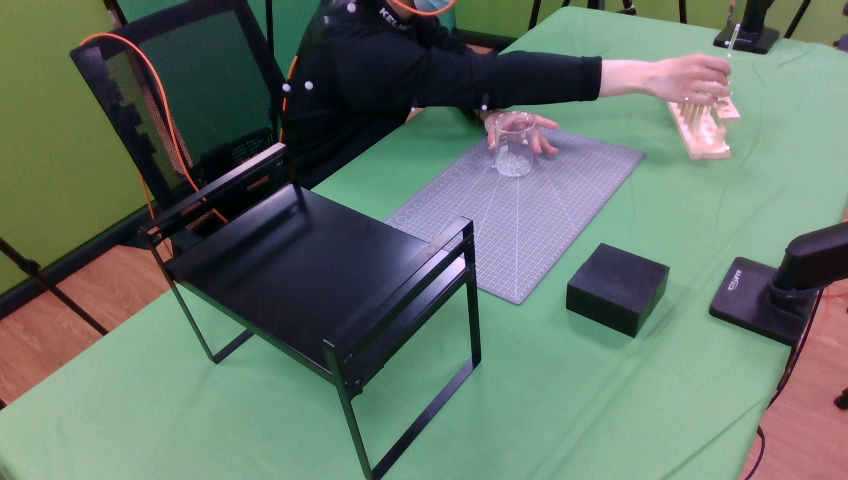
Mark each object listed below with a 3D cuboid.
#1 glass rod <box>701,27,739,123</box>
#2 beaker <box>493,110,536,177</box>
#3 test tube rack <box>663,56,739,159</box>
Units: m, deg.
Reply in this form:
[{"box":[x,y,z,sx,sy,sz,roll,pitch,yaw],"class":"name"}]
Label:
[{"box":[0.526,-0.287,1.078,0.008,0.200,0.008,-2,49,2],"class":"glass rod"},{"box":[0.165,-0.172,1.083,0.084,0.101,0.073,-34,48,-27],"class":"beaker"},{"box":[0.518,-0.256,1.144,0.066,0.085,0.241,-1,41,8],"class":"test tube rack"}]
